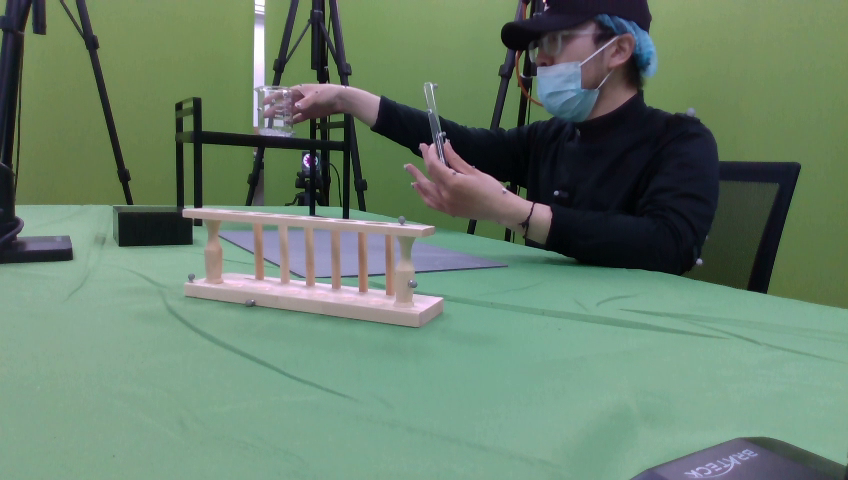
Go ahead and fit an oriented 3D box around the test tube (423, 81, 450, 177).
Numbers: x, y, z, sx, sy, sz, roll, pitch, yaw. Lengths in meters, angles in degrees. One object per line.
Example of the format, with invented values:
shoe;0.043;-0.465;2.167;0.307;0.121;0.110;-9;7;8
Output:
test tube;0.019;-0.169;0.922;0.017;0.150;0.017;-11;-3;0

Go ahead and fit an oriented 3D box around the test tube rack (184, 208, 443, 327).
test tube rack;-0.106;0.019;0.570;0.241;0.085;0.067;5;8;19

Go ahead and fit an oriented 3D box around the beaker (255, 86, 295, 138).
beaker;-0.309;-0.263;1.251;0.084;0.100;0.073;-4;9;-38
